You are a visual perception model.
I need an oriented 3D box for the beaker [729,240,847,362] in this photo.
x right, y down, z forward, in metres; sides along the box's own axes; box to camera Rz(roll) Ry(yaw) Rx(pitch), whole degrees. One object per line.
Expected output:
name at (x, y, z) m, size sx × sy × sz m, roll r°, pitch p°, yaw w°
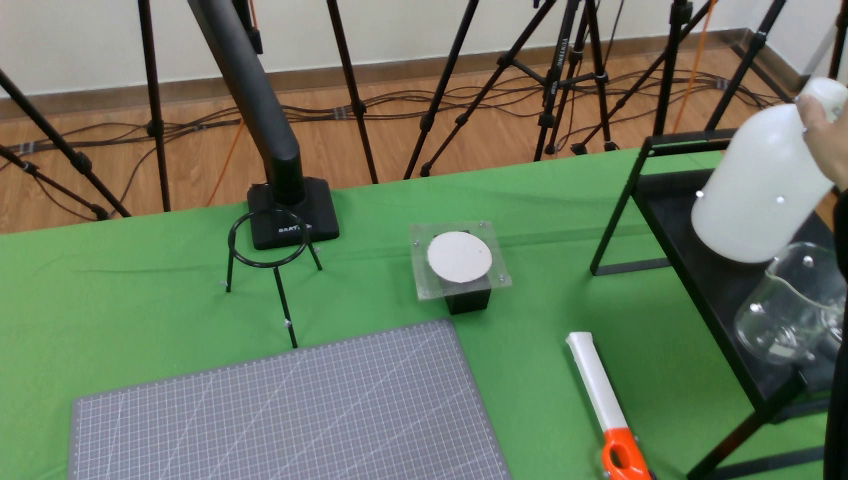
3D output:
beaker at (0.335, 0.060, 0.559) m, size 0.084 × 0.101 × 0.073 m, roll 6°, pitch 49°, yaw 1°

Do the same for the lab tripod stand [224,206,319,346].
lab tripod stand at (-0.183, 0.037, 0.742) m, size 0.148 × 0.132 × 0.147 m, roll 4°, pitch 50°, yaw -4°

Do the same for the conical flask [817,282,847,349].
conical flask at (0.434, 0.047, 0.564) m, size 0.075 × 0.123 × 0.074 m, roll 2°, pitch 50°, yaw -3°

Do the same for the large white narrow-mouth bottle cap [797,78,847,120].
large white narrow-mouth bottle cap at (0.358, -0.127, 0.543) m, size 0.038 × 0.024 × 0.037 m, roll 3°, pitch 50°, yaw -3°

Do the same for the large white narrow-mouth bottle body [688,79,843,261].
large white narrow-mouth bottle body at (0.351, -0.072, 0.609) m, size 0.102 × 0.196 × 0.101 m, roll 3°, pitch 50°, yaw -3°

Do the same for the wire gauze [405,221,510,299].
wire gauze at (0.041, 0.021, 0.796) m, size 0.122 × 0.011 × 0.123 m, roll -4°, pitch 50°, yaw -9°

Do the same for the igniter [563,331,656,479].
igniter at (0.218, 0.225, 0.692) m, size 0.057 × 0.025 × 0.273 m, roll 2°, pitch 49°, yaw -18°
